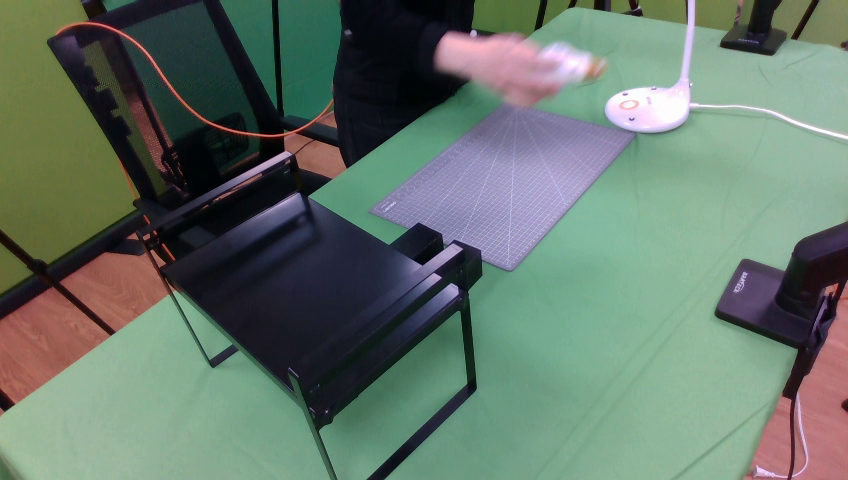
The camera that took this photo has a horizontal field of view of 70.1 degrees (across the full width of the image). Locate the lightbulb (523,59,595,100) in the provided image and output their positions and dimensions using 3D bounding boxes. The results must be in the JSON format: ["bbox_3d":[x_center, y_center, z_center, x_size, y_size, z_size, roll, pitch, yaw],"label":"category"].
[{"bbox_3d":[0.203,-0.241,0.914,0.108,0.060,0.059,3,41,0],"label":"lightbulb"}]

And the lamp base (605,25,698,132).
[{"bbox_3d":[0.448,-0.321,1.161,0.179,0.181,0.159,-6,41,-2],"label":"lamp base"}]
